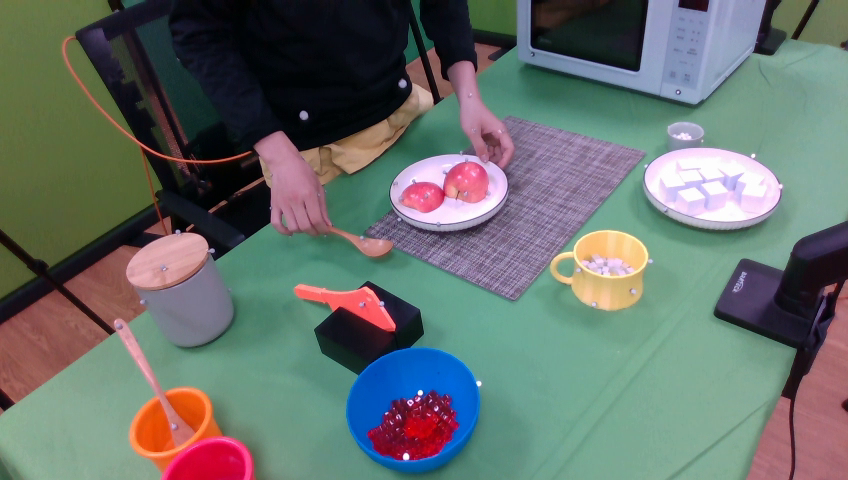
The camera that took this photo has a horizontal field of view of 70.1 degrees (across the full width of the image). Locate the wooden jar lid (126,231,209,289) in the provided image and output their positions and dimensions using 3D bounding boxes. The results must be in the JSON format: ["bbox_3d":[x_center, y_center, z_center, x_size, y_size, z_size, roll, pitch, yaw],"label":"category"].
[{"bbox_3d":[-0.340,0.030,0.809,0.108,0.021,0.108,-5,39,5],"label":"wooden jar lid"}]

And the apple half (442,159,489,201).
[{"bbox_3d":[0.074,-0.110,1.047,0.080,0.053,0.075,21,45,30],"label":"apple half"}]

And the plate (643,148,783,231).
[{"bbox_3d":[0.464,-0.080,0.986,0.207,0.039,0.206,-4,41,4],"label":"plate"}]

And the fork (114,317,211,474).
[{"bbox_3d":[-0.309,0.179,0.708,0.028,0.018,0.207,-30,89,-24],"label":"fork"}]

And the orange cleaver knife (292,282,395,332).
[{"bbox_3d":[-0.116,0.091,0.835,0.209,0.077,0.012,2,32,48],"label":"orange cleaver knife"}]

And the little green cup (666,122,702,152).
[{"bbox_3d":[0.471,-0.184,1.102,0.061,0.039,0.061,-5,41,5],"label":"little green cup"}]

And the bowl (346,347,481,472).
[{"bbox_3d":[-0.008,0.205,0.691,0.151,0.077,0.150,-4,40,4],"label":"bowl"}]

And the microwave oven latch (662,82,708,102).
[{"bbox_3d":[0.517,-0.298,1.203,0.078,0.029,0.030,28,52,35],"label":"microwave oven latch"}]

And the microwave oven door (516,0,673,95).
[{"bbox_3d":[0.344,-0.458,1.257,0.353,0.245,0.039,26,52,33],"label":"microwave oven door"}]

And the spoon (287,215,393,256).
[{"bbox_3d":[-0.137,-0.013,0.961,0.193,0.022,0.041,20,52,18],"label":"spoon"}]

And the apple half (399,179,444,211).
[{"bbox_3d":[-0.004,-0.088,1.045,0.081,0.033,0.081,-2,42,2],"label":"apple half"}]

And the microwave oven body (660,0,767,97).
[{"bbox_3d":[0.473,-0.517,1.313,0.438,0.261,0.327,26,51,34],"label":"microwave oven body"}]

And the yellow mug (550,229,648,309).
[{"bbox_3d":[0.245,0.040,0.856,0.130,0.064,0.099,1,42,11],"label":"yellow mug"}]

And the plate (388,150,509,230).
[{"bbox_3d":[0.044,-0.083,1.042,0.209,0.038,0.208,-4,40,4],"label":"plate"}]

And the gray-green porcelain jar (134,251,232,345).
[{"bbox_3d":[-0.334,0.076,0.849,0.106,0.127,0.105,-4,41,4],"label":"gray-green porcelain jar"}]
